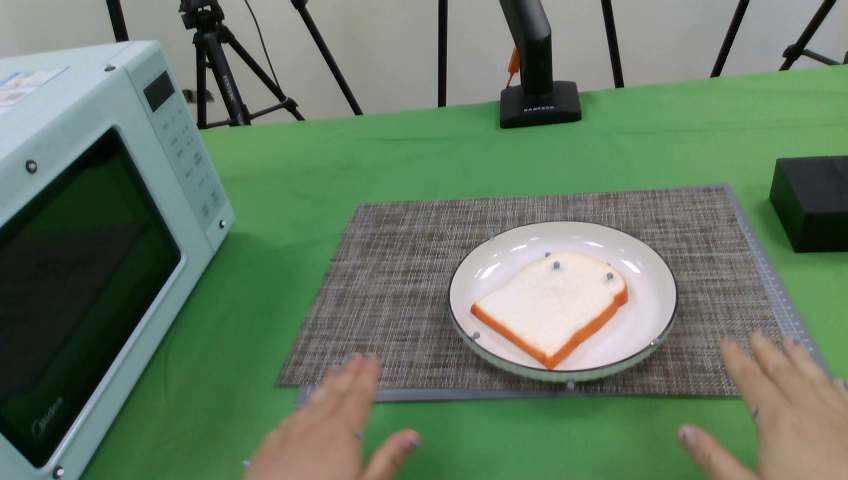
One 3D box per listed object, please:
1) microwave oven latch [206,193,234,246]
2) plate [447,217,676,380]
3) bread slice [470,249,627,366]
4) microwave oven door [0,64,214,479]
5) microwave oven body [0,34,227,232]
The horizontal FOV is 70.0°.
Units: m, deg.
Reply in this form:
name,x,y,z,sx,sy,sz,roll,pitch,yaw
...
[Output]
name,x,y,z,sx,sy,sz,roll,pitch,yaw
microwave oven latch,-0.263,-0.024,0.755,0.030,0.030,0.078,-2,38,11
plate,0.126,0.053,0.573,0.209,0.038,0.207,-8,37,6
bread slice,0.123,0.053,0.576,0.131,0.019,0.104,-32,42,-26
microwave oven door,-0.306,0.031,0.524,0.039,0.246,0.352,-4,38,11
microwave oven body,-0.445,0.018,0.587,0.325,0.263,0.438,-3,38,10
